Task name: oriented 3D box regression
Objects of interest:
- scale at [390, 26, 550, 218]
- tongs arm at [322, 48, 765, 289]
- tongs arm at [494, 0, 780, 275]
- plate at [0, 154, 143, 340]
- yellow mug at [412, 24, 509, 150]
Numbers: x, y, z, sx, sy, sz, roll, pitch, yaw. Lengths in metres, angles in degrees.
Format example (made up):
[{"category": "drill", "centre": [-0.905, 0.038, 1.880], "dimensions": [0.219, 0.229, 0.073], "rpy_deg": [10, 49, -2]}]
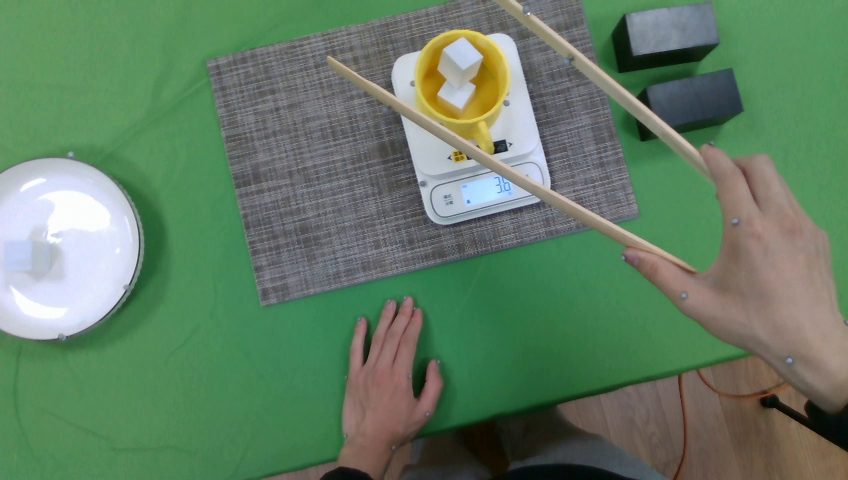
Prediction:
[{"category": "scale", "centre": [0.053, -0.136, 0.695], "dimensions": [0.149, 0.031, 0.200], "rpy_deg": [-14, 86, 0]}, {"category": "tongs arm", "centre": [0.071, -0.063, 0.474], "dimensions": [0.385, 0.028, 0.028], "rpy_deg": [33, 82, 17]}, {"category": "tongs arm", "centre": [0.119, -0.119, 0.474], "dimensions": [0.051, 0.027, 0.382], "rpy_deg": [-46, 73, -1]}, {"category": "plate", "centre": [-0.419, 0.008, 0.687], "dimensions": [0.208, 0.039, 0.207], "rpy_deg": [0, 85, 0]}, {"category": "yellow mug", "centre": [0.044, -0.157, 0.650], "dimensions": [0.100, 0.064, 0.130], "rpy_deg": [-24, 87, -3]}]
